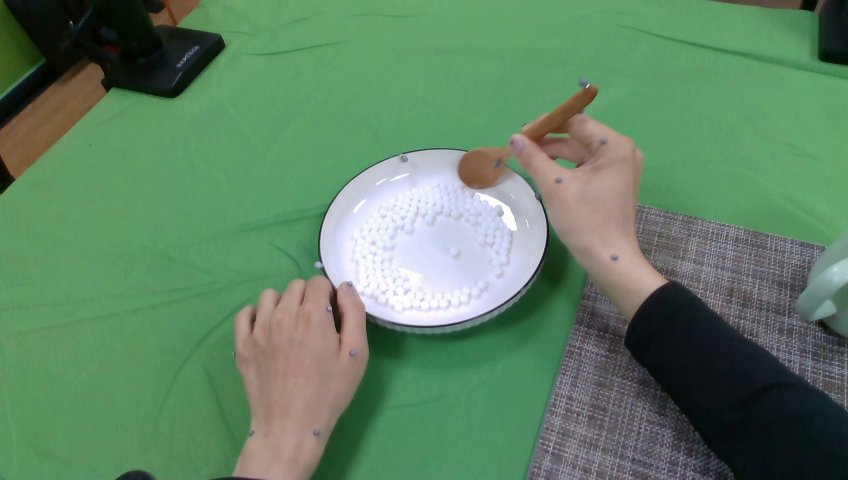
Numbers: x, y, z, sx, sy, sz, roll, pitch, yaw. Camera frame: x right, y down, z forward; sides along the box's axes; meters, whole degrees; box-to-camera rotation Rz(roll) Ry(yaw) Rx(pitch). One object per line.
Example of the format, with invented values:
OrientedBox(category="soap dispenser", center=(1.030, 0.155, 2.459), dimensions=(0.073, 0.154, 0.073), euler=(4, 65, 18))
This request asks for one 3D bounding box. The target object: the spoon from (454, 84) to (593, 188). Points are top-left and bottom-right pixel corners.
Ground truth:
OrientedBox(category="spoon", center=(0.080, -0.084, 0.522), dimensions=(0.042, 0.193, 0.021), euler=(44, 65, -10))

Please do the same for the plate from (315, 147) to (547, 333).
OrientedBox(category="plate", center=(0.007, -0.001, 0.556), dimensions=(0.209, 0.038, 0.207), euler=(-3, 52, 4))

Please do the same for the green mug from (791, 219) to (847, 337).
OrientedBox(category="green mug", center=(0.335, 0.025, 0.453), dimensions=(0.125, 0.106, 0.091), euler=(-19, 53, -9))
